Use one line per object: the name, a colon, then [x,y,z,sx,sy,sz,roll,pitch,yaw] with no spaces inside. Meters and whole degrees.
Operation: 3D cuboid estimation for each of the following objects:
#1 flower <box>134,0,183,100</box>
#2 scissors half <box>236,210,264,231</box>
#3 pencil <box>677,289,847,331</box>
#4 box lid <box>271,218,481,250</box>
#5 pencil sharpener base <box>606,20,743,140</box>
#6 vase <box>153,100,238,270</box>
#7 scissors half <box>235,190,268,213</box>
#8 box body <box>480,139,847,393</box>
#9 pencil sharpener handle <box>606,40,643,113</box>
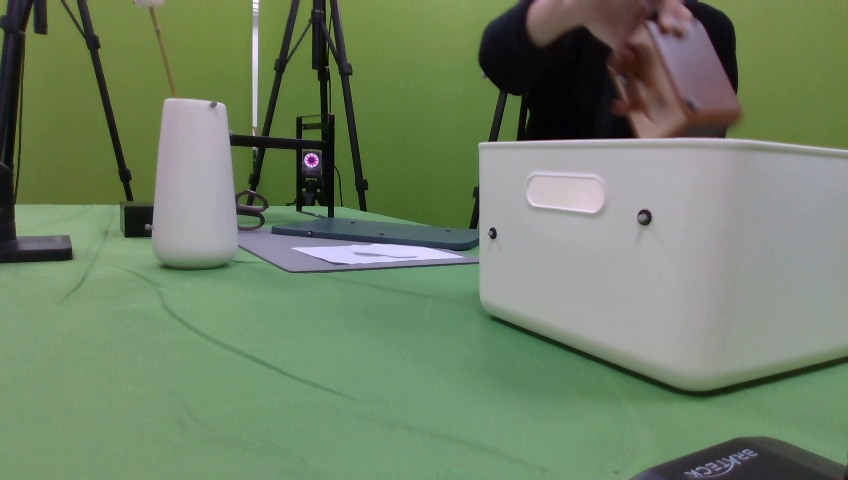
flower: [-0.282,-0.147,0.713,0.038,0.362,0.044,-23,24,-31]
scissors half: [-0.369,-0.051,1.065,0.176,0.040,0.012,19,13,-27]
pencil: [0.332,0.066,0.609,0.012,0.012,0.193,-1,6,-25]
box lid: [-0.072,-0.014,1.141,0.371,0.015,0.264,5,7,16]
pencil sharpener base: [0.222,-0.139,0.547,0.077,0.107,0.061,-8,-19,-23]
vase: [-0.278,-0.066,0.736,0.098,0.200,0.098,2,9,0]
scissors half: [-0.363,-0.070,1.060,0.176,0.040,0.013,0,16,-23]
box body: [0.255,0.001,0.541,0.366,0.160,0.253,-2,9,-31]
pencil sharpener handle: [0.171,-0.143,0.531,0.031,0.067,0.036,-8,-13,-23]
